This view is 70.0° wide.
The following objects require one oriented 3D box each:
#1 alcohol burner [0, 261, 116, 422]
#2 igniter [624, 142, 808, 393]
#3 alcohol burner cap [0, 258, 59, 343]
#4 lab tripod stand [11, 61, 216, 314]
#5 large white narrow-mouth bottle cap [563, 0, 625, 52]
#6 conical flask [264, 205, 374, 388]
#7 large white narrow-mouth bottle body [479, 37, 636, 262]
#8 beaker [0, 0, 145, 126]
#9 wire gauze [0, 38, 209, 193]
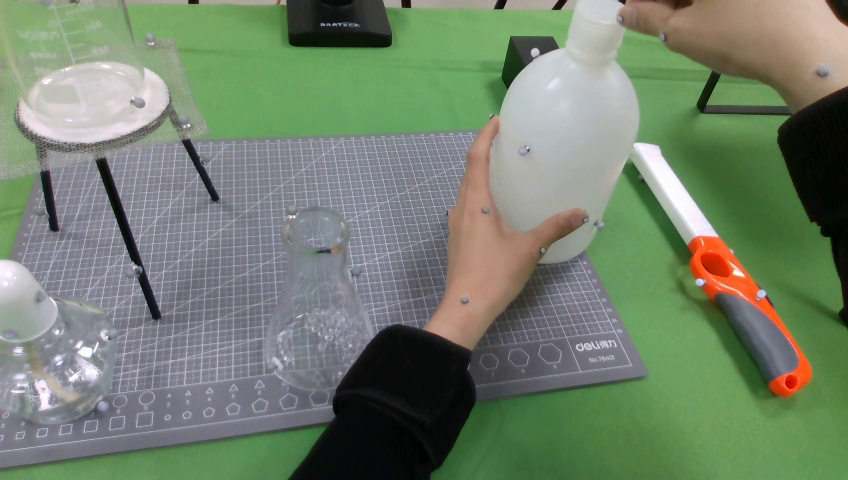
[{"bbox_3d":[-0.223,0.054,0.347,0.078,0.120,0.077,6,45,-5],"label":"alcohol burner"},{"bbox_3d":[0.241,0.008,0.522,0.057,0.025,0.273,4,46,-20],"label":"igniter"},{"bbox_3d":[-0.219,0.030,0.320,0.034,0.048,0.033,4,53,-5],"label":"alcohol burner cap"},{"bbox_3d":[-0.211,-0.041,0.423,0.148,0.132,0.147,6,47,-6],"label":"lab tripod stand"},{"bbox_3d":[0.111,-0.142,0.396,0.038,0.024,0.037,4,47,-4],"label":"large white narrow-mouth bottle cap"},{"bbox_3d":[-0.067,0.034,0.383,0.075,0.123,0.074,4,47,-4],"label":"conical flask"},{"bbox_3d":[0.104,-0.079,0.462,0.102,0.196,0.101,4,47,-3],"label":"large white narrow-mouth bottle body"},{"bbox_3d":[-0.207,-0.122,0.341,0.084,0.101,0.073,-10,51,-17],"label":"beaker"},{"bbox_3d":[-0.208,-0.087,0.376,0.122,0.011,0.123,-17,56,-20],"label":"wire gauze"}]
